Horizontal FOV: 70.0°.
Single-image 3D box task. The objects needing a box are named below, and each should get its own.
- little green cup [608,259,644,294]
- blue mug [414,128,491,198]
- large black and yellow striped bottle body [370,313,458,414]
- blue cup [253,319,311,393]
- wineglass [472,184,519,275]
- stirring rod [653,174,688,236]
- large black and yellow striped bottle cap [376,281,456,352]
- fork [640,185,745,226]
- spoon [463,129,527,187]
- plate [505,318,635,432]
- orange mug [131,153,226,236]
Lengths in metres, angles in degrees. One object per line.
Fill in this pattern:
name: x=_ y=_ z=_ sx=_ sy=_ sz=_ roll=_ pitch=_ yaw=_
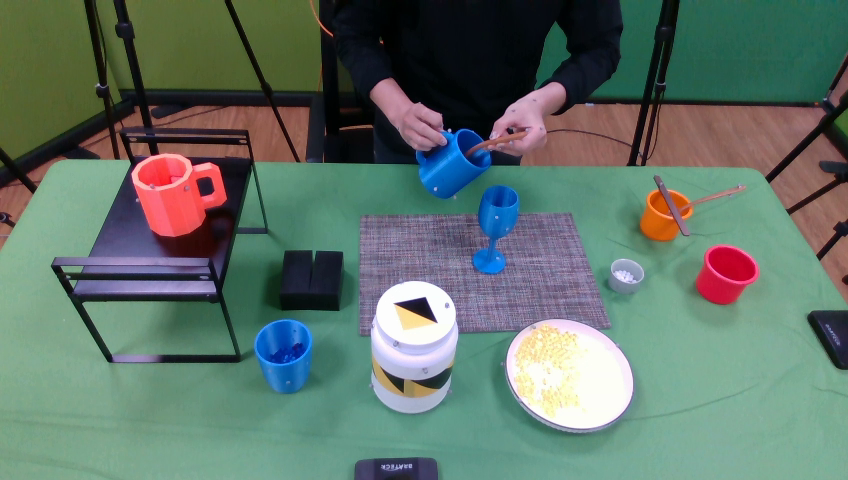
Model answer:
little green cup: x=0.379 y=0.070 z=1.147 sx=0.061 sy=0.039 sz=0.061 roll=3 pitch=45 yaw=-2
blue mug: x=0.039 y=-0.142 z=1.050 sx=0.117 sy=0.106 sz=0.082 roll=35 pitch=46 yaw=-19
large black and yellow striped bottle body: x=-0.017 y=0.165 z=0.924 sx=0.131 sy=0.185 sz=0.130 roll=2 pitch=46 yaw=-2
blue cup: x=-0.217 y=0.187 z=0.943 sx=0.093 sy=0.100 sz=0.092 roll=4 pitch=45 yaw=-3
wineglass: x=0.129 y=-0.018 z=1.113 sx=0.074 sy=0.173 sz=0.073 roll=2 pitch=46 yaw=-2
stirring rod: x=0.491 y=-0.072 z=1.211 sx=0.014 sy=0.006 sz=0.175 roll=0 pitch=47 yaw=-6
large black and yellow striped bottle cap: x=-0.011 y=0.107 z=0.863 sx=0.115 sy=0.019 sz=0.114 roll=2 pitch=47 yaw=-2
fork: x=0.534 y=-0.069 z=1.215 sx=0.207 sy=0.019 sz=0.028 roll=-26 pitch=27 yaw=33
spoon: x=0.110 y=-0.136 z=1.026 sx=0.042 sy=0.194 sz=0.021 roll=-8 pitch=69 yaw=-34
plate: x=0.235 y=0.221 z=0.991 sx=0.209 sy=0.038 sz=0.208 roll=2 pitch=45 yaw=-2
orange mug: x=-0.375 y=-0.075 z=0.937 sx=0.126 sy=0.101 sz=0.083 roll=-20 pitch=50 yaw=-16
